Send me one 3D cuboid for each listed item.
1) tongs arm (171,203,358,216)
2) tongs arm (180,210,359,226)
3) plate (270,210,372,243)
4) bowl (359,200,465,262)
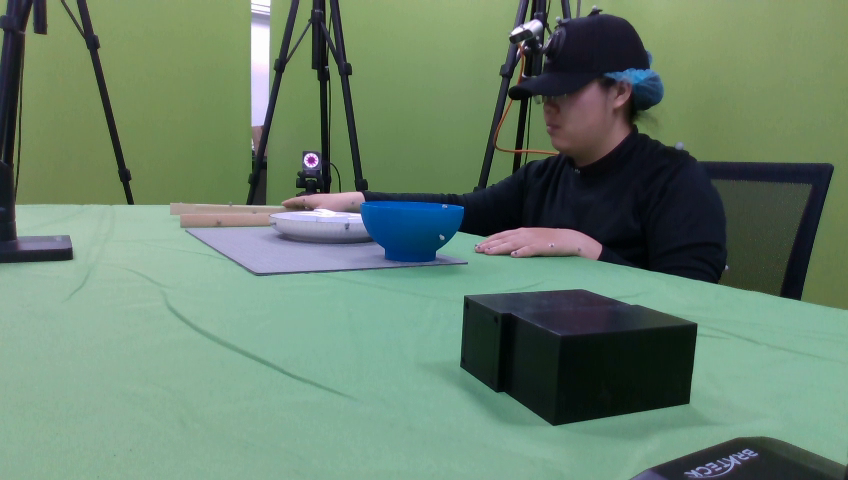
[{"bbox_3d":[-0.331,-0.058,1.295,0.387,0.026,0.050,0,8,-25],"label":"tongs arm"},{"bbox_3d":[-0.293,-0.045,1.227,0.390,0.028,0.028,-3,6,-37],"label":"tongs arm"},{"bbox_3d":[-0.161,-0.023,1.054,0.208,0.039,0.207,2,7,0],"label":"plate"},{"bbox_3d":[-0.018,-0.013,0.859,0.151,0.077,0.151,2,7,0],"label":"bowl"}]
